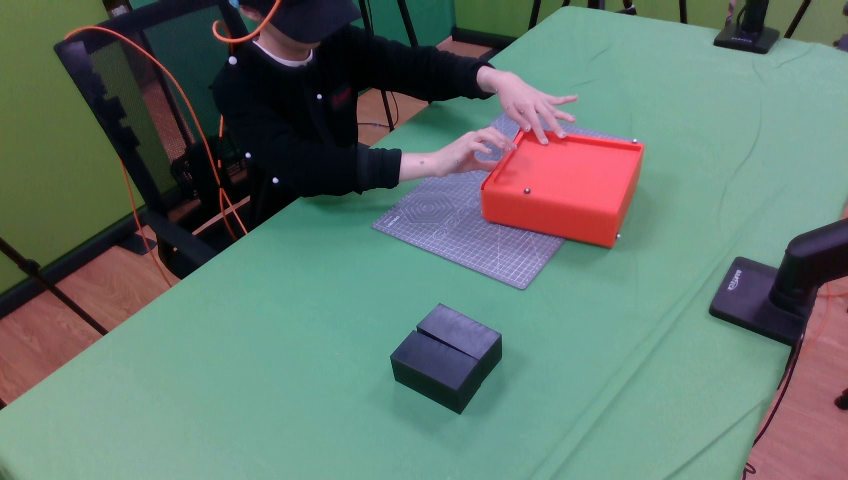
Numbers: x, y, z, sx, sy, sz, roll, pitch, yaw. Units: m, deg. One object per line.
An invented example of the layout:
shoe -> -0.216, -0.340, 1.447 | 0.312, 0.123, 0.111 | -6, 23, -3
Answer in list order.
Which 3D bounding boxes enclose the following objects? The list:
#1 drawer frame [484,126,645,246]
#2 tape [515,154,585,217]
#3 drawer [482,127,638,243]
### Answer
drawer frame -> 0.234, -0.096, 1.003 | 0.212, 0.083, 0.202 | 14, 44, 22
tape -> 0.210, -0.093, 1.012 | 0.117, 0.053, 0.116 | -5, 40, 5
drawer -> 0.228, -0.097, 1.007 | 0.210, 0.073, 0.194 | 14, 44, 23
